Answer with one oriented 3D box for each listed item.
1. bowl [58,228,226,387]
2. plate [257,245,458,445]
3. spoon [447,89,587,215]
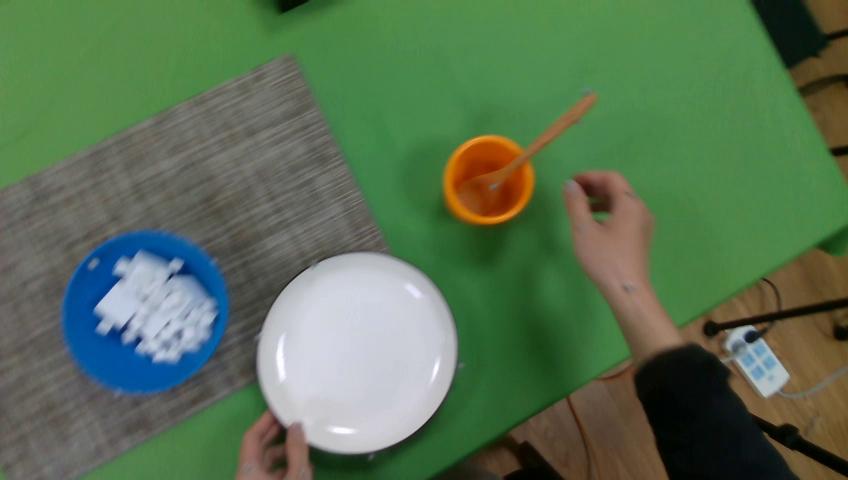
[{"bbox_3d":[-0.268,0.066,0.607,0.151,0.077,0.151,0,86,-6],"label":"bowl"},{"bbox_3d":[-0.069,0.110,0.646,0.208,0.039,0.207,0,88,-6],"label":"plate"},{"bbox_3d":[0.092,-0.086,0.622,0.041,0.194,0.021,49,39,-1],"label":"spoon"}]
